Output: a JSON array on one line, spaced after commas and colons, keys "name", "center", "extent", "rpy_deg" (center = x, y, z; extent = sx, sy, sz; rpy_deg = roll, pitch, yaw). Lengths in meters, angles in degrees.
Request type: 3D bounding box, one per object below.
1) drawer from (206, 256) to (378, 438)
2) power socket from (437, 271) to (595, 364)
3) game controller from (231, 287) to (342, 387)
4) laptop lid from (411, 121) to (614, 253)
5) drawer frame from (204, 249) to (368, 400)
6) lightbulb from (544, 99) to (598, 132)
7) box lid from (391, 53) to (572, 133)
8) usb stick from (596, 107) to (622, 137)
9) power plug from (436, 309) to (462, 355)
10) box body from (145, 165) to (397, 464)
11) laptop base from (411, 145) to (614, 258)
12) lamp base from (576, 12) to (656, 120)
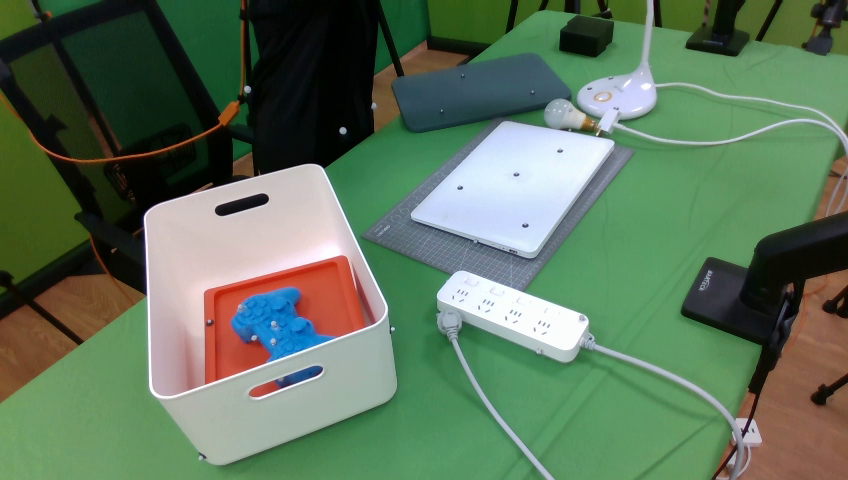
[{"name": "drawer", "center": [-0.177, 0.130, 0.787], "extent": [0.195, 0.073, 0.210], "rpy_deg": [-14, 39, -9]}, {"name": "power socket", "center": [0.118, 0.102, 0.830], "extent": [0.225, 0.033, 0.072], "rpy_deg": [20, 48, 28]}, {"name": "game controller", "center": [-0.167, 0.110, 0.734], "extent": [0.097, 0.052, 0.154], "rpy_deg": [-35, 47, -22]}, {"name": "laptop lid", "center": [0.164, -0.112, 1.068], "extent": [0.240, 0.013, 0.357], "rpy_deg": [19, 46, 30]}, {"name": "drawer frame", "center": [-0.174, 0.129, 0.790], "extent": [0.202, 0.083, 0.212], "rpy_deg": [-16, 45, -8]}, {"name": "lightbulb", "center": [0.292, -0.241, 1.198], "extent": [0.107, 0.059, 0.059], "rpy_deg": [22, 46, 9]}, {"name": "box lid", "center": [0.122, -0.339, 1.366], "extent": [0.372, 0.015, 0.261], "rpy_deg": [-12, 40, -5]}, {"name": "usb stick", "center": [0.355, -0.223, 1.168], "extent": [0.027, 0.059, 0.022], "rpy_deg": [37, 14, 34]}, {"name": "power plug", "center": [0.032, 0.126, 0.810], "extent": [0.035, 0.053, 0.072], "rpy_deg": [3, 59, 7]}, {"name": "box body", "center": [-0.205, 0.080, 0.802], "extent": [0.255, 0.161, 0.361], "rpy_deg": [-18, 41, -13]}, {"name": "laptop base", "center": [0.167, -0.102, 1.075], "extent": [0.234, 0.023, 0.355], "rpy_deg": [17, 45, 30]}, {"name": "lamp base", "center": [0.403, -0.359, 1.218], "extent": [0.180, 0.181, 0.159], "rpy_deg": [-24, 43, -23]}]
